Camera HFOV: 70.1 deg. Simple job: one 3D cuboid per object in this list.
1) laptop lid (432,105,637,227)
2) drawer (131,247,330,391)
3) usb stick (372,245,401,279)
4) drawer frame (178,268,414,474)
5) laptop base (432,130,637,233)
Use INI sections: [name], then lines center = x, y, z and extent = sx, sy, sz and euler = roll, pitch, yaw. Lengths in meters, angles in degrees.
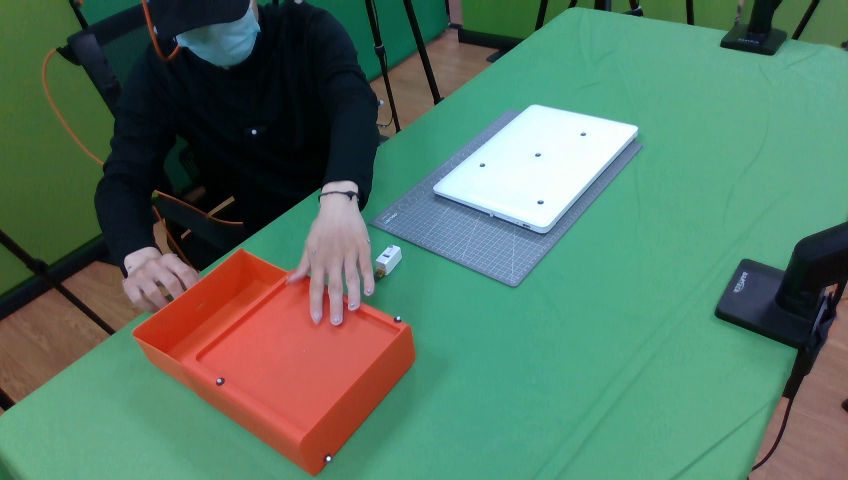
[laptop lid]
center = 0.207, -0.152, 1.105
extent = 0.239, 0.013, 0.358
euler = 23, 49, 34
[drawer]
center = -0.244, 0.121, 0.821
extent = 0.210, 0.073, 0.195
euler = 21, 47, 29
[usb stick]
center = -0.061, 0.036, 0.937
extent = 0.021, 0.027, 0.059
euler = 18, 49, 26
[drawer frame]
center = -0.156, 0.152, 0.769
extent = 0.212, 0.083, 0.202
euler = 22, 47, 29
[laptop base]
center = 0.210, -0.142, 1.111
extent = 0.233, 0.023, 0.355
euler = 21, 48, 34
